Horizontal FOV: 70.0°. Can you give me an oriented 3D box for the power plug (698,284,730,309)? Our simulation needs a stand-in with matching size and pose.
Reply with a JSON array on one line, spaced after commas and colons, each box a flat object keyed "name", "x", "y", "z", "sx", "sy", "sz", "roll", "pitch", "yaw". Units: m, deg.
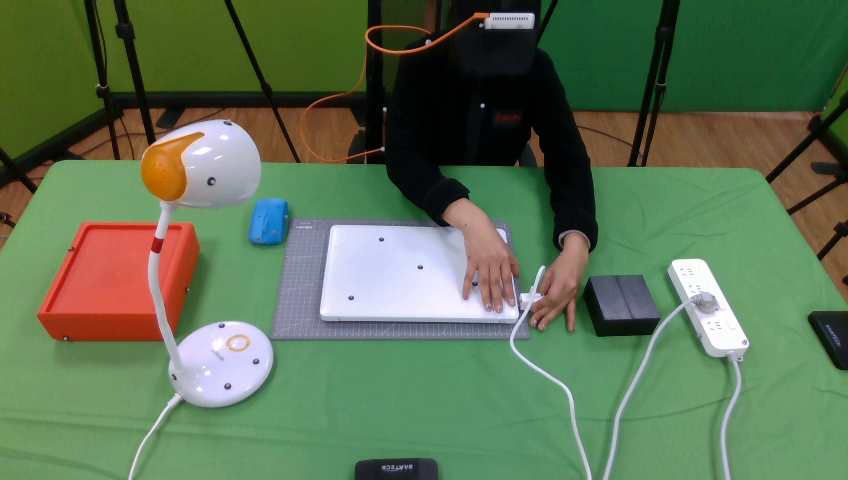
[{"name": "power plug", "x": 0.509, "y": 0.096, "z": 1.059, "sx": 0.052, "sy": 0.073, "sz": 0.035, "roll": -22, "pitch": 61, "yaw": 10}]

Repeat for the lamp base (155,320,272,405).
[{"name": "lamp base", "x": -0.330, "y": 0.149, "z": 0.918, "sx": 0.160, "sy": 0.181, "sz": 0.179, "roll": 26, "pitch": 52, "yaw": 20}]

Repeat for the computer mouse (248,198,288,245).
[{"name": "computer mouse", "x": -0.309, "y": -0.041, "z": 1.205, "sx": 0.063, "sy": 0.041, "sz": 0.116, "roll": 3, "pitch": 50, "yaw": -3}]

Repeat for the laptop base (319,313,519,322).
[{"name": "laptop base", "x": -0.009, "y": 0.063, "z": 1.138, "sx": 0.354, "sy": 0.023, "sz": 0.234, "roll": 1, "pitch": 42, "yaw": -3}]

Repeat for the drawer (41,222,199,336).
[{"name": "drawer", "x": -0.519, "y": 0.064, "z": 1.058, "sx": 0.195, "sy": 0.073, "sz": 0.210, "roll": 1, "pitch": 47, "yaw": -4}]

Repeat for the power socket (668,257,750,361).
[{"name": "power socket", "x": 0.517, "y": 0.118, "z": 1.109, "sx": 0.072, "sy": 0.033, "sz": 0.225, "roll": -3, "pitch": 47, "yaw": -4}]

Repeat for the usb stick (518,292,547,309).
[{"name": "usb stick", "x": 0.188, "y": 0.109, "z": 1.089, "sx": 0.059, "sy": 0.027, "sz": 0.021, "roll": -2, "pitch": 43, "yaw": -5}]

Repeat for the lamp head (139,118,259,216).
[{"name": "lamp head", "x": -0.281, "y": -0.086, "z": 0.733, "sx": 0.112, "sy": 0.113, "sz": 0.123, "roll": 21, "pitch": 25, "yaw": 16}]

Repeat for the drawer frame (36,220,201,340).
[{"name": "drawer frame", "x": -0.518, "y": 0.065, "z": 1.055, "sx": 0.202, "sy": 0.083, "sz": 0.212, "roll": 0, "pitch": 47, "yaw": -5}]

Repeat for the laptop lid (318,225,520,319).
[{"name": "laptop lid", "x": -0.009, "y": 0.053, "z": 1.131, "sx": 0.357, "sy": 0.013, "sz": 0.240, "roll": 3, "pitch": 43, "yaw": -2}]
